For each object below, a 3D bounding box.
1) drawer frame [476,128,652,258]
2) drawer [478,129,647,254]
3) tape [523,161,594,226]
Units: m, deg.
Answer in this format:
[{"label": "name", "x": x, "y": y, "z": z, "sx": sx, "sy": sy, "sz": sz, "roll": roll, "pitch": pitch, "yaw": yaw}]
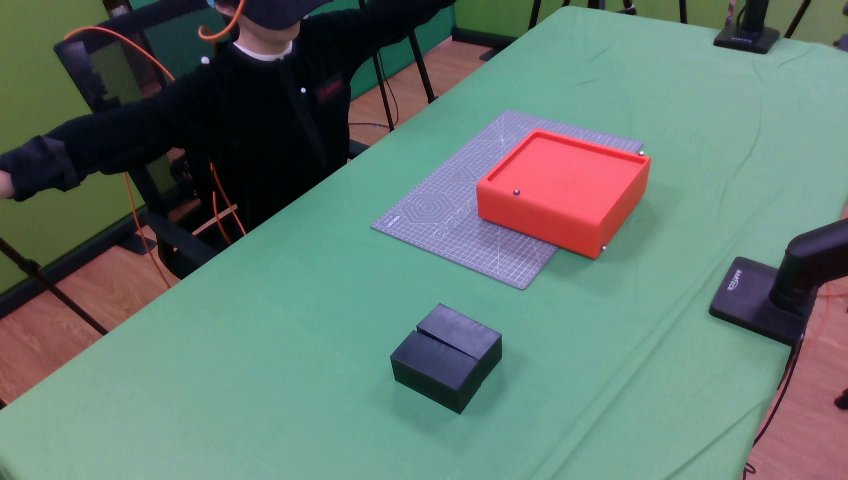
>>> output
[{"label": "drawer frame", "x": 0.229, "y": -0.086, "z": 0.992, "sx": 0.212, "sy": 0.083, "sz": 0.202, "roll": 22, "pitch": 48, "yaw": 29}, {"label": "drawer", "x": 0.227, "y": -0.085, "z": 0.994, "sx": 0.210, "sy": 0.073, "sz": 0.195, "roll": 23, "pitch": 48, "yaw": 30}, {"label": "tape", "x": 0.221, "y": -0.078, "z": 0.995, "sx": 0.117, "sy": 0.053, "sz": 0.116, "roll": -4, "pitch": 40, "yaw": 4}]
